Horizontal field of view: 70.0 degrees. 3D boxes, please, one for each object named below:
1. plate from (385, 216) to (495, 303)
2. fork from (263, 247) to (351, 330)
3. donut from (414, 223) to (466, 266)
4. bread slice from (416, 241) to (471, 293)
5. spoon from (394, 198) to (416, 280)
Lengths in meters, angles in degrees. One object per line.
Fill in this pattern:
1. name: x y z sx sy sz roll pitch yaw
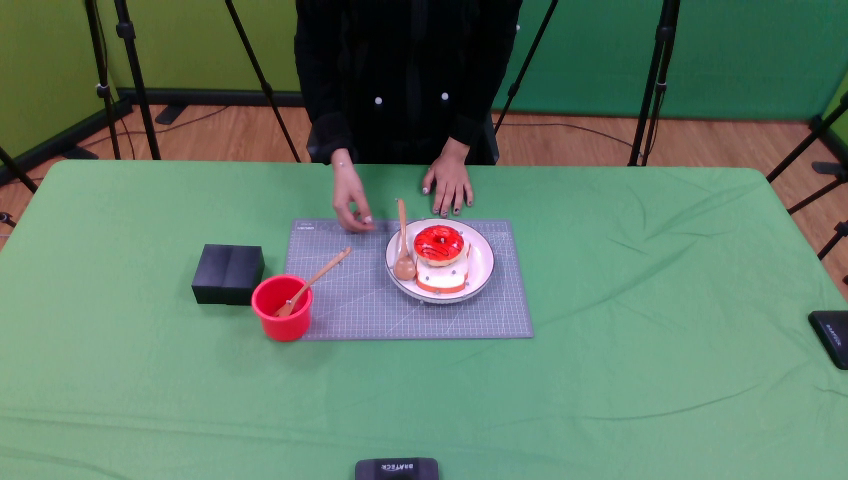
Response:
1. plate: 0.030 0.040 1.145 0.209 0.038 0.208 2 46 -2
2. fork: -0.197 0.081 1.016 0.207 0.019 0.028 -44 51 14
3. donut: 0.030 0.007 1.140 0.099 0.048 0.098 0 42 0
4. bread slice: 0.036 0.046 1.144 0.105 0.019 0.131 4 45 2
5. spoon: -0.039 -0.006 1.166 0.042 0.022 0.192 1 59 -7
